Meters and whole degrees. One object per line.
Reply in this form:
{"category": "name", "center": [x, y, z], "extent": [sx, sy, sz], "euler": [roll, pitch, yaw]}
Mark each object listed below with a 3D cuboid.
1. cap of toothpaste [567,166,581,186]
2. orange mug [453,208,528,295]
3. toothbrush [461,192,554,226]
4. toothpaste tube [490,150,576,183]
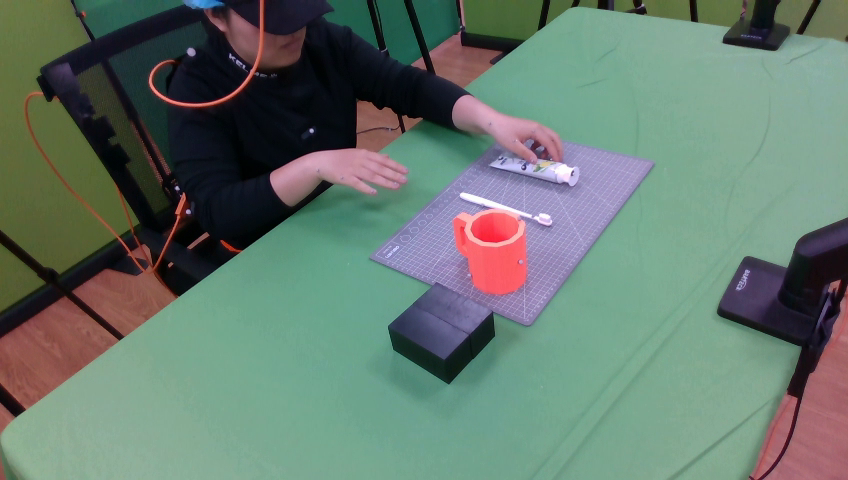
{"category": "cap of toothpaste", "center": [0.260, -0.112, 1.052], "extent": [0.011, 0.037, 0.037], "euler": [22, 50, 37]}
{"category": "orange mug", "center": [0.094, 0.009, 0.894], "extent": [0.125, 0.101, 0.084], "euler": [32, 55, 33]}
{"category": "toothbrush", "center": [0.137, -0.056, 1.026], "extent": [0.180, 0.017, 0.014], "euler": [20, 63, 32]}
{"category": "toothpaste tube", "center": [0.202, -0.135, 1.098], "extent": [0.164, 0.035, 0.055], "euler": [20, 46, 34]}
